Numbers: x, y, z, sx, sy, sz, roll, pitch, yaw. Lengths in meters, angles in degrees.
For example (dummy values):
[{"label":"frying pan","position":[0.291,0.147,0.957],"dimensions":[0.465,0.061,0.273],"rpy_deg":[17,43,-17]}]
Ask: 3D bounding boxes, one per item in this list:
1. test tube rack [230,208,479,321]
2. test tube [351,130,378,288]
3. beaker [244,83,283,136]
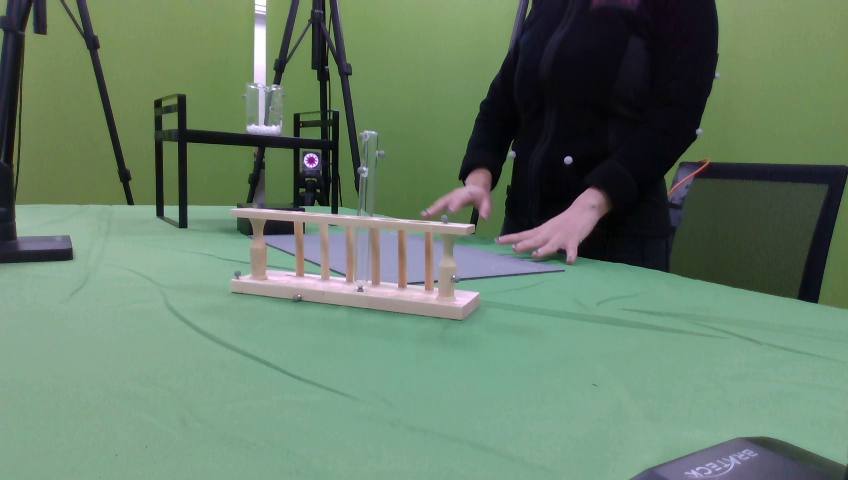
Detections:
[{"label":"test tube rack","position":[-0.069,0.017,0.598],"dimensions":[0.242,0.085,0.067],"rpy_deg":[5,8,18]},{"label":"test tube","position":[-0.057,-0.029,0.575],"dimensions":[0.017,0.150,0.017],"rpy_deg":[4,4,0]},{"label":"beaker","position":[-0.322,-0.260,1.215],"dimensions":[0.074,0.100,0.083],"rpy_deg":[-1,9,-27]}]
